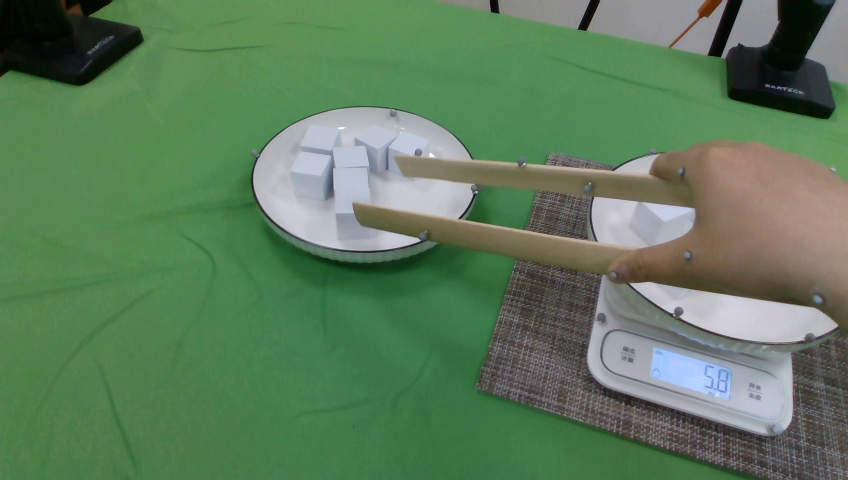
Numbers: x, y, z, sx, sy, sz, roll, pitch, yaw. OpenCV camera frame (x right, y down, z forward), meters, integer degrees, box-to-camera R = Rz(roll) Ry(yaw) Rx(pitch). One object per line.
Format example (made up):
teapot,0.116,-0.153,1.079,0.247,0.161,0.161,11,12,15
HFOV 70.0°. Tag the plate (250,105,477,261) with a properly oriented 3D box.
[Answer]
plate,-0.054,-0.054,0.573,0.209,0.038,0.207,3,47,-2

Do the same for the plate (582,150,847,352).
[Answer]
plate,0.230,0.007,0.492,0.208,0.039,0.205,3,48,-3

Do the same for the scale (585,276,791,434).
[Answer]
scale,0.220,0.049,0.497,0.148,0.032,0.199,16,48,11

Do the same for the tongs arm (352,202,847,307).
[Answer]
tongs arm,0.111,0.003,0.377,0.385,0.028,0.028,8,44,31

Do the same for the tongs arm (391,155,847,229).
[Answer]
tongs arm,0.129,-0.023,0.397,0.382,0.027,0.050,8,48,31
